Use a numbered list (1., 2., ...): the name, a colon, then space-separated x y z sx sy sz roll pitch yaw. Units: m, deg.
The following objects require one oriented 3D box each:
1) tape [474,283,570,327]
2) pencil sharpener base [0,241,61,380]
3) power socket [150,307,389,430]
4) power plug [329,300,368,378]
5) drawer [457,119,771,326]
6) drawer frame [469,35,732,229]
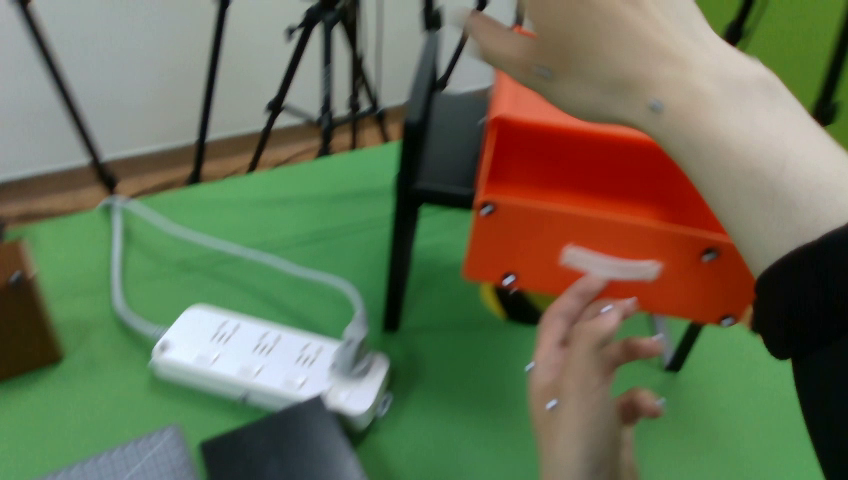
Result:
1. tape: 0.118 0.041 0.692 0.117 0.053 0.115 5 39 -4
2. pencil sharpener base: -0.377 0.066 0.529 0.077 0.108 0.060 -21 46 -31
3. power socket: -0.142 0.117 0.565 0.226 0.033 0.072 13 37 8
4. power plug: -0.061 0.099 0.563 0.035 0.053 0.072 21 40 17
5. drawer: 0.135 -0.040 0.482 0.194 0.074 0.210 9 37 3
6. drawer frame: 0.150 -0.111 0.573 0.202 0.083 0.212 8 37 1
